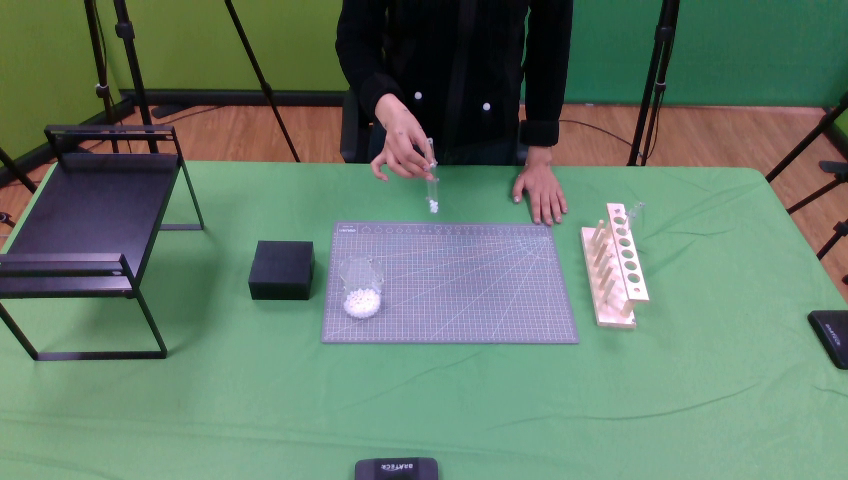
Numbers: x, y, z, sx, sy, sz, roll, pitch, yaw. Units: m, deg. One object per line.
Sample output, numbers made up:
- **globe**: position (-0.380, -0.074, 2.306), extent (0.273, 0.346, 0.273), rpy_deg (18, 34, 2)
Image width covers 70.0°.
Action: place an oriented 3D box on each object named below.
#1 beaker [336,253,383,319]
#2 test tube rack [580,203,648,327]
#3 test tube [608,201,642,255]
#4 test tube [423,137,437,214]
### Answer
- **beaker**: position (-0.108, 0.084, 1.052), extent (0.084, 0.101, 0.074), rpy_deg (25, 50, 17)
- **test tube rack**: position (0.352, 0.040, 1.143), extent (0.067, 0.085, 0.241), rpy_deg (4, 46, 0)
- **test tube**: position (0.373, -0.019, 1.134), extent (0.017, 0.151, 0.017), rpy_deg (3, 52, -4)
- **test tube**: position (0.011, -0.108, 1.039), extent (0.017, 0.151, 0.017), rpy_deg (-3, 38, 3)
